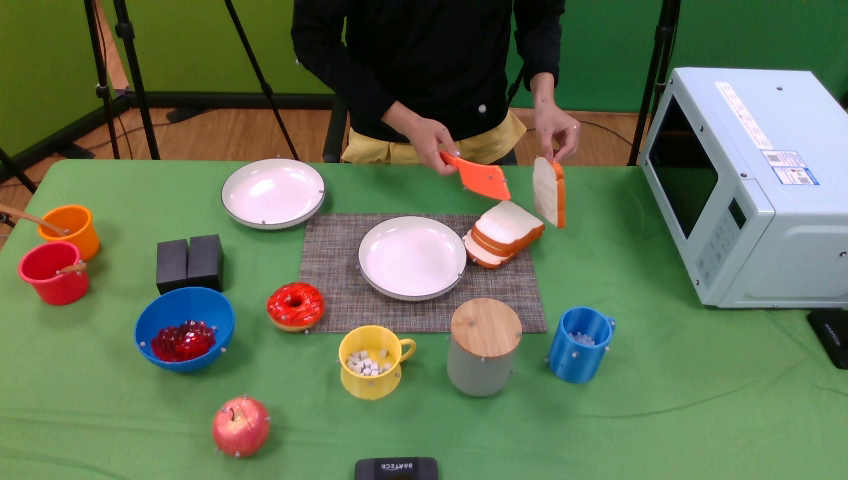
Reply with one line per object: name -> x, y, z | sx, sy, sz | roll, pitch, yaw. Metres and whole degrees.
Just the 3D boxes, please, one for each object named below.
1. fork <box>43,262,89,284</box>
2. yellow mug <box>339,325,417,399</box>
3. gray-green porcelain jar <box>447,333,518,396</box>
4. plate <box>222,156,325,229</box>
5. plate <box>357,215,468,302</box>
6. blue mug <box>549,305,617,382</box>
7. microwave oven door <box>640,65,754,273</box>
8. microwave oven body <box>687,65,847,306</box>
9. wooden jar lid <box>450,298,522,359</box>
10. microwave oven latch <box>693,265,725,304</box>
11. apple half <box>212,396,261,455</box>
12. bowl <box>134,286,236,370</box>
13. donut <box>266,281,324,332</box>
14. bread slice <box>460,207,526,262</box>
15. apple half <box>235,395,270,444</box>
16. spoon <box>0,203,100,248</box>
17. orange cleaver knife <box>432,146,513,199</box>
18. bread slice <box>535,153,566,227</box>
fork -> -0.599, 0.053, 1.013 | 0.207, 0.019, 0.028 | -14, 30, 45
yellow mug -> -0.072, 0.190, 0.978 | 0.131, 0.064, 0.099 | -17, 50, -20
gray-green porcelain jar -> 0.091, 0.178, 0.960 | 0.106, 0.127, 0.105 | 2, 46, -2
plate -> -0.308, -0.095, 1.251 | 0.209, 0.038, 0.208 | 2, 46, -2
plate -> -0.022, 0.037, 1.141 | 0.208, 0.039, 0.206 | 2, 46, -2
blue mug -> 0.269, 0.165, 0.998 | 0.116, 0.106, 0.082 | -19, 51, -21
microwave oven door -> 0.523, -0.147, 1.193 | 0.039, 0.245, 0.353 | 0, 47, -3
microwave oven body -> 0.669, -0.111, 1.176 | 0.326, 0.261, 0.439 | 0, 46, -3
wooden jar lid -> 0.093, 0.135, 0.914 | 0.108, 0.021, 0.107 | 2, 48, -3
microwave oven latch -> 0.523, 0.082, 1.116 | 0.030, 0.029, 0.078 | 2, 46, -1
apple half -> -0.276, 0.276, 0.877 | 0.053, 0.075, 0.080 | -29, 58, -21
bowl -> -0.377, 0.155, 0.981 | 0.151, 0.077, 0.150 | 2, 46, -2
donut -> -0.222, 0.114, 1.049 | 0.099, 0.048, 0.098 | 2, 45, -2
bread slice -> 0.127, -0.008, 1.194 | 0.104, 0.019, 0.131 | 21, 49, 24
apple half -> -0.245, 0.259, 0.893 | 0.033, 0.082, 0.081 | -29, 55, -22
spoon -> -0.683, -0.031, 1.088 | 0.195, 0.021, 0.041 | 33, 33, -38
orange cleaver knife -> 0.089, -0.129, 1.143 | 0.012, 0.077, 0.210 | -34, 39, -25
bread slice -> 0.246, -0.102, 1.186 | 0.018, 0.135, 0.106 | -13, 33, -13
